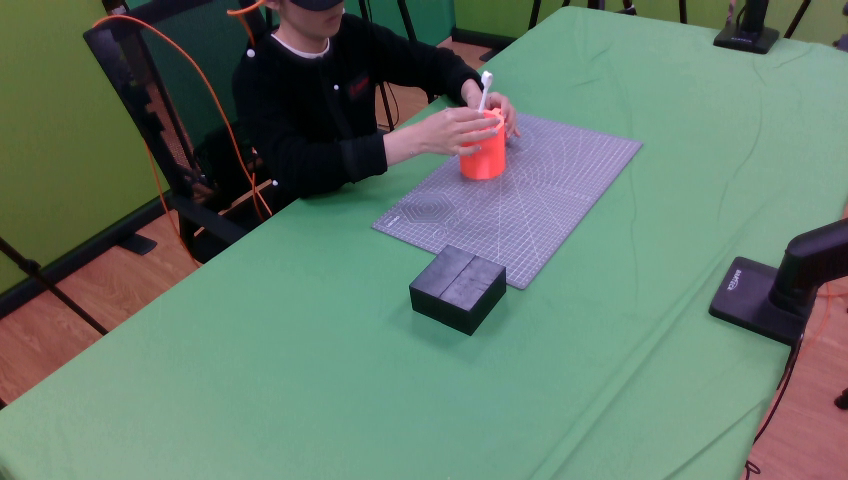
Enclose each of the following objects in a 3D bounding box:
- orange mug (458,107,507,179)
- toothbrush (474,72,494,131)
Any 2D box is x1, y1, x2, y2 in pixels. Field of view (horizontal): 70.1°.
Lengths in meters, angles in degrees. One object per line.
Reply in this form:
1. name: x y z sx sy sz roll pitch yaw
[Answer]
1. orange mug: 0.117 -0.186 1.112 0.083 0.101 0.126 18 51 28
2. toothbrush: 0.096 -0.209 1.052 0.014 0.182 0.016 -21 52 -29
